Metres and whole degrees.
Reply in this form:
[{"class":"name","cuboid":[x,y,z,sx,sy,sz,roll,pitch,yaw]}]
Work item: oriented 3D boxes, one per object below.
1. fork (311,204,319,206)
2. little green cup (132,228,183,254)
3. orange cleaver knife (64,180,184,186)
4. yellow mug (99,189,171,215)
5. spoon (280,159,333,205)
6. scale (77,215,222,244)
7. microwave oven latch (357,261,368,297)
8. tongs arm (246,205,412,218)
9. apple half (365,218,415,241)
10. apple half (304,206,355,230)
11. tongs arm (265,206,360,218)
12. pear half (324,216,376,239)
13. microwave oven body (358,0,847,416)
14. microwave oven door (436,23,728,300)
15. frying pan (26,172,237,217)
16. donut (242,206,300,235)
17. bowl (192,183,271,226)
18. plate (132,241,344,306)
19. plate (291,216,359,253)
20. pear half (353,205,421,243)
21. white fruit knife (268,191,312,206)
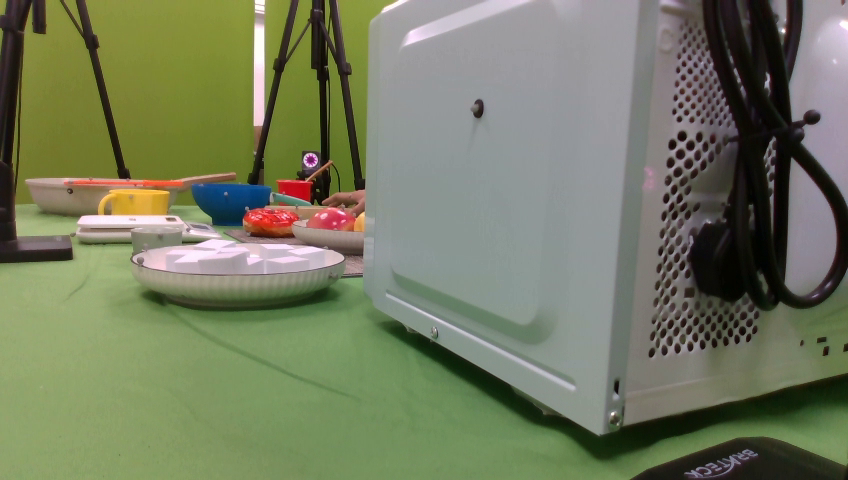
[{"class":"fork","cuboid":[-0.356,-0.105,1.526,0.208,0.018,0.028,16,-5,-41]},{"class":"little green cup","cuboid":[-0.342,0.006,0.779,0.061,0.038,0.061,2,8,0]},{"class":"orange cleaver knife","cuboid":[-0.595,-0.114,1.212,0.212,0.012,0.077,-4,6,-41]},{"class":"yellow mug","cuboid":[-0.518,-0.055,1.080,0.099,0.064,0.131,7,9,26]},{"class":"spoon","cuboid":[-0.316,-0.159,1.640,0.194,0.022,0.041,-50,32,-20]},{"class":"scale","cuboid":[-0.434,-0.019,0.963,0.202,0.031,0.148,-1,9,-27]},{"class":"microwave oven latch","cuboid":[-0.019,0.033,0.531,0.079,0.029,0.030,-1,7,-27]},{"class":"tongs arm","cuboid":[-0.220,-0.068,1.438,0.389,0.027,0.028,0,-1,-18]},{"class":"apple half","cuboid":[-0.053,-0.019,0.966,0.081,0.033,0.081,-4,11,1]},{"class":"apple half","cuboid":[-0.138,-0.025,0.917,0.081,0.053,0.074,0,10,-43]},{"class":"tongs arm","cuboid":[-0.181,-0.061,1.361,0.387,0.026,0.050,-1,3,-33]},{"class":"pear half","cuboid":[-0.119,-0.023,0.996,0.088,0.031,0.070,-4,23,-28]},{"class":"microwave oven body","cuboid":[0.211,-0.047,0.475,0.444,0.260,0.324,-1,7,-28]},{"class":"microwave oven door","cuboid":[0.180,-0.072,0.621,0.358,0.243,0.039,-2,9,-29]},{"class":"frying pan","cuboid":[-0.624,-0.118,1.387,0.305,0.102,0.490,8,17,32]},{"class":"donut","cuboid":[-0.263,-0.032,1.039,0.099,0.048,0.099,4,10,0]},{"class":"bowl","cuboid":[-0.382,-0.071,1.202,0.151,0.077,0.151,3,7,0]},{"class":"plate","cuboid":[-0.187,0.033,0.625,0.208,0.039,0.207,2,7,0]},{"class":"plate","cuboid":[-0.103,-0.009,0.945,0.209,0.038,0.209,2,8,0]},{"class":"pear half","cuboid":[-0.051,-0.024,0.905,0.110,0.056,0.076,1,-2,-38]},{"class":"white fruit knife","cuboid":[-0.364,-0.105,1.464,0.208,0.027,0.016,15,-1,-34]}]
